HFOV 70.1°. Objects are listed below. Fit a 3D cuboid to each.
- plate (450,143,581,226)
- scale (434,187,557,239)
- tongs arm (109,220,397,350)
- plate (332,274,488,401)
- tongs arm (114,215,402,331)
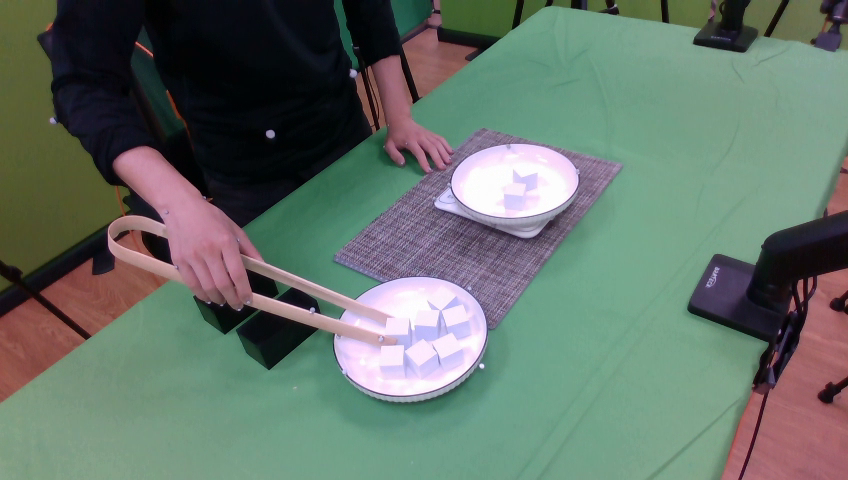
[{"bbox_3d":[0.148,-0.087,0.986,0.209,0.038,0.208,-4,41,4],"label":"plate"},{"bbox_3d":[0.132,-0.074,1.025,0.199,0.032,0.149,22,48,30],"label":"scale"},{"bbox_3d":[-0.216,0.061,0.778,0.386,0.026,0.050,19,46,-9],"label":"tongs arm"},{"bbox_3d":[-0.017,0.130,0.808,0.207,0.039,0.206,-4,41,4],"label":"plate"},{"bbox_3d":[-0.211,0.046,0.794,0.388,0.028,0.028,22,49,-6],"label":"tongs arm"}]
